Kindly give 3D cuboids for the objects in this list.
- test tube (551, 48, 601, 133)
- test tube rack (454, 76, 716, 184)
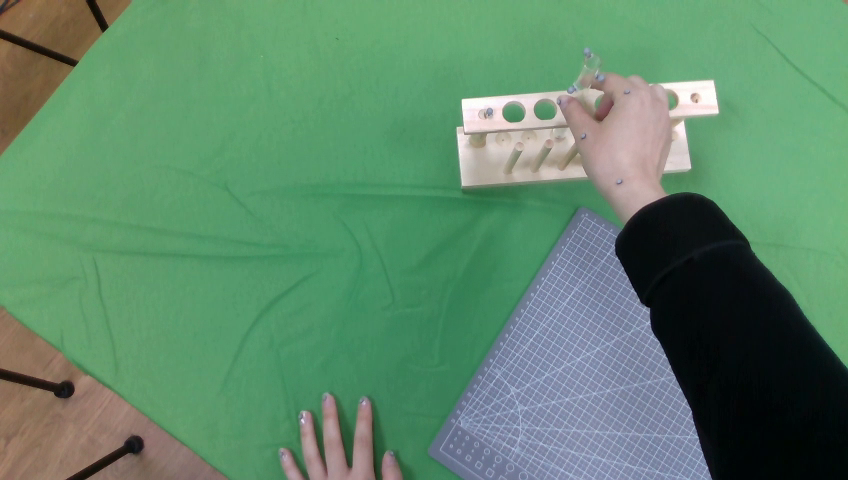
[{"bbox_3d":[0.138,-0.133,0.563,0.017,0.151,0.017,0,77,1],"label":"test tube"},{"bbox_3d":[0.156,-0.108,0.609,0.242,0.085,0.066,-5,81,-2],"label":"test tube rack"}]
